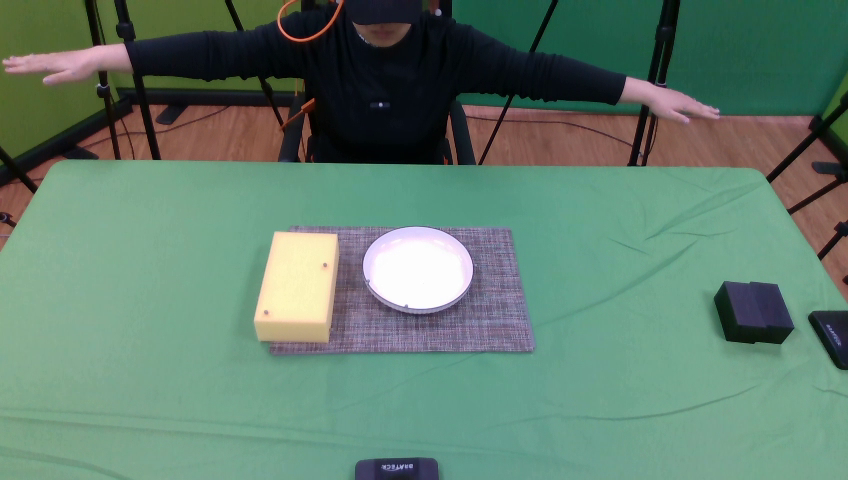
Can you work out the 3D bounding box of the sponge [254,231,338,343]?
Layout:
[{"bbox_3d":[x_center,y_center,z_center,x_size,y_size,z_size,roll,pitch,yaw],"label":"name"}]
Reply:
[{"bbox_3d":[-0.221,0.079,1.073,0.118,0.061,0.205,1,46,-3],"label":"sponge"}]

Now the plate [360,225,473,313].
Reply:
[{"bbox_3d":[-0.014,0.057,1.126,0.208,0.039,0.206,2,46,-2],"label":"plate"}]
